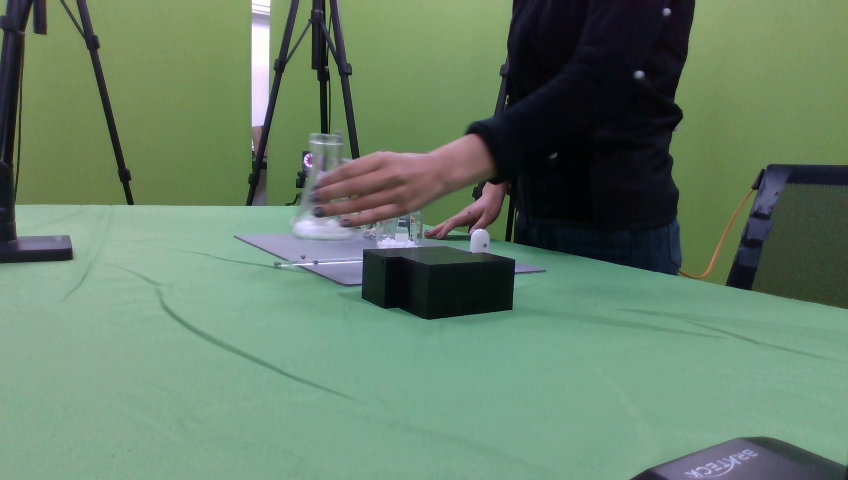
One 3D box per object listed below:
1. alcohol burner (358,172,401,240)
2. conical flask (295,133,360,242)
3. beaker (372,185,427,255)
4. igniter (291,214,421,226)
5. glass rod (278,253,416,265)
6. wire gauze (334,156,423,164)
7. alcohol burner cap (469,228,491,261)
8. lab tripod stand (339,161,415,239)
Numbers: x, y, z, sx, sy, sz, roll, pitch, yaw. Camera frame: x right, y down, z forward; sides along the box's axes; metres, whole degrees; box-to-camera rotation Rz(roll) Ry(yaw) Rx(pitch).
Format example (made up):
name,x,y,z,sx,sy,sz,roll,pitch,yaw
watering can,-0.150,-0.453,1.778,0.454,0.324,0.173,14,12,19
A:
name,x,y,z,sx,sy,sz,roll,pitch,yaw
alcohol burner,-0.078,-0.061,1.065,0.078,0.119,0.078,4,9,0
conical flask,-0.109,-0.061,0.694,0.075,0.122,0.075,3,6,0
beaker,-0.038,-0.031,0.905,0.084,0.100,0.073,-1,8,-21
igniter,-0.135,-0.041,1.250,0.278,0.025,0.057,-1,-3,-28
glass rod,-0.097,0.024,0.805,0.201,0.008,0.008,-2,8,-33
wire gauze,-0.081,-0.137,1.051,0.122,0.011,0.124,0,8,-30
alcohol burner cap,0.082,0.006,0.877,0.034,0.048,0.034,3,6,0
lab tripod stand,-0.082,-0.070,1.059,0.148,0.131,0.148,4,6,0
